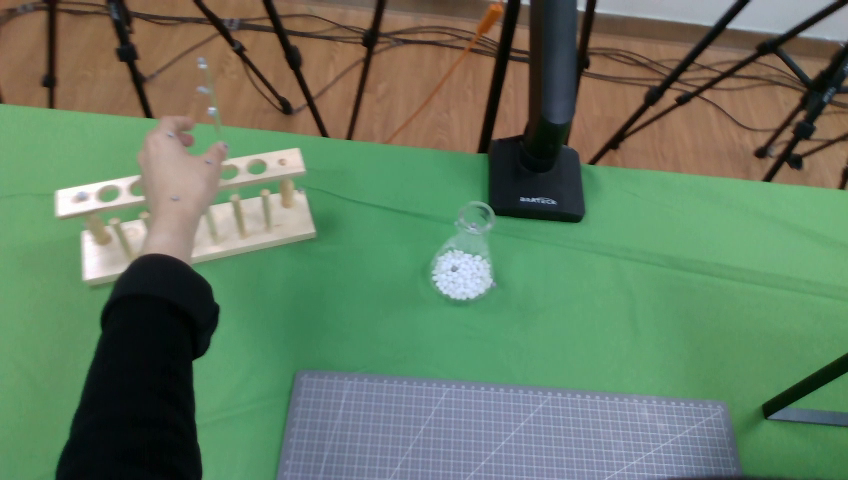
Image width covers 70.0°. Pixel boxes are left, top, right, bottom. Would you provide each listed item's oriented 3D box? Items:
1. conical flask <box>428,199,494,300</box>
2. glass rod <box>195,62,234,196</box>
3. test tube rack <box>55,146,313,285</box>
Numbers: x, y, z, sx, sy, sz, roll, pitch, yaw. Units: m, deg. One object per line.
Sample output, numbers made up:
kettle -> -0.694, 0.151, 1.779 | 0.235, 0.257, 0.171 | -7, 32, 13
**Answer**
conical flask -> 0.046, 0.006, 0.645 | 0.075, 0.123, 0.074 | 3, 56, -4
glass rod -> -0.211, -0.094, 0.623 | 0.008, 0.201, 0.008 | 3, 49, -3
test tube rack -> -0.249, -0.028, 0.655 | 0.243, 0.086, 0.066 | -13, 59, -14
